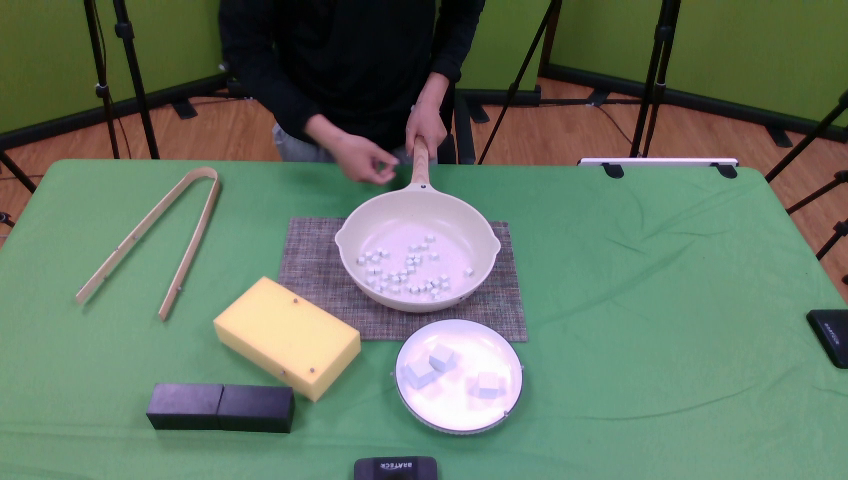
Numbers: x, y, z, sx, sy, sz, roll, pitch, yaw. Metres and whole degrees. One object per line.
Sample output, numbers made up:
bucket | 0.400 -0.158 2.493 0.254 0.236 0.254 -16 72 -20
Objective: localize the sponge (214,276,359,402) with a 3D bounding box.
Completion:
sponge | -0.225 0.158 0.998 0.206 0.061 0.118 27 52 18

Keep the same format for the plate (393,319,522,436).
plate | 0.053 0.222 0.979 0.208 0.039 0.206 2 46 -2

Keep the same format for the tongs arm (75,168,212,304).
tongs arm | -0.525 -0.021 1.167 0.051 0.026 0.383 13 46 7

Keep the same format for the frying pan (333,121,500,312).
frying pan | -0.011 -0.063 1.195 0.307 0.103 0.485 4 55 -2

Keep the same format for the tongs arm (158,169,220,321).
tongs arm | -0.446 -0.005 1.164 0.028 0.028 0.385 1 46 0
